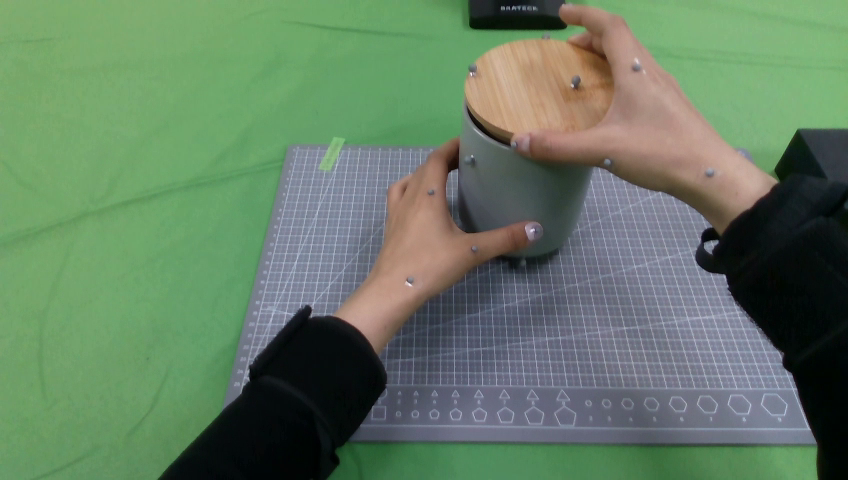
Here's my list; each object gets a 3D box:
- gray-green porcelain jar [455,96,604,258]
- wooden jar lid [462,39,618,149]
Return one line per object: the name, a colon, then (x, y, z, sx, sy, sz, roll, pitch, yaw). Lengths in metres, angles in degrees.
gray-green porcelain jar: (0.078, -0.056, 0.483, 0.106, 0.127, 0.105, 0, 50, 0)
wooden jar lid: (0.080, -0.103, 0.429, 0.108, 0.021, 0.107, -1, 52, 2)
